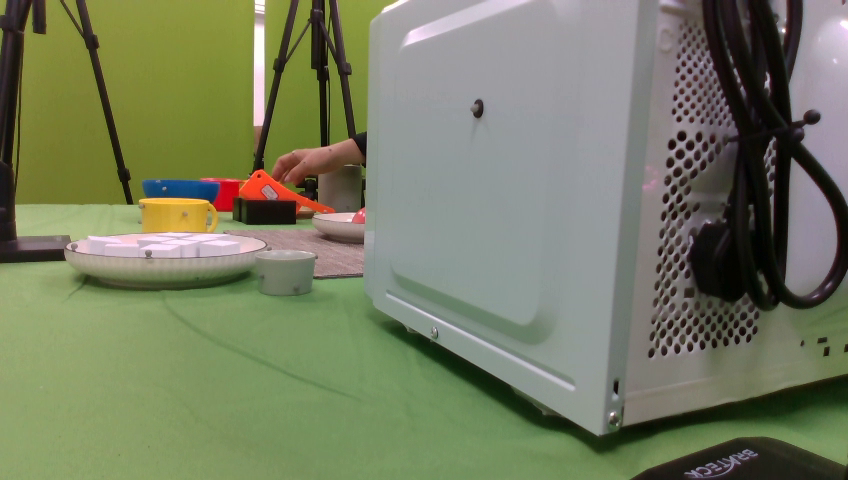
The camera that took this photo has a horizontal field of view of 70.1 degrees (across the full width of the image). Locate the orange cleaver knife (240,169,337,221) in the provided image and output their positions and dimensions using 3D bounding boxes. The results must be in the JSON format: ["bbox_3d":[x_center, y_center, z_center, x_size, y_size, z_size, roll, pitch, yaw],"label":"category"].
[{"bbox_3d":[-0.287,-0.081,1.298,0.212,0.077,0.012,25,-3,-31],"label":"orange cleaver knife"}]

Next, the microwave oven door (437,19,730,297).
[{"bbox_3d":[0.181,-0.076,0.618,0.358,0.243,0.039,-2,8,-28],"label":"microwave oven door"}]

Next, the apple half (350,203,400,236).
[{"bbox_3d":[-0.081,-0.036,1.024,0.081,0.053,0.074,-2,11,-34],"label":"apple half"}]

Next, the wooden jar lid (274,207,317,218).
[{"bbox_3d":[-0.303,-0.065,1.409,0.108,0.020,0.108,3,8,0],"label":"wooden jar lid"}]

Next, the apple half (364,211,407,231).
[{"bbox_3d":[-0.068,-0.037,1.104,0.081,0.033,0.081,-1,9,1],"label":"apple half"}]

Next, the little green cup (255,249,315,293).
[{"bbox_3d":[-0.144,0.032,0.627,0.061,0.038,0.061,2,5,0],"label":"little green cup"}]

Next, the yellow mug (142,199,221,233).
[{"bbox_3d":[-0.373,-0.030,0.948,0.099,0.064,0.131,6,7,30],"label":"yellow mug"}]

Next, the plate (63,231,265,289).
[{"bbox_3d":[-0.288,0.021,0.687,0.208,0.039,0.207,2,8,0],"label":"plate"}]

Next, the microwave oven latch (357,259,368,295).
[{"bbox_3d":[-0.019,0.031,0.529,0.079,0.029,0.030,-1,7,-26],"label":"microwave oven latch"}]

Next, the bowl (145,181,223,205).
[{"bbox_3d":[-0.499,-0.081,1.261,0.151,0.077,0.151,2,8,0],"label":"bowl"}]

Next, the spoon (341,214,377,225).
[{"bbox_3d":[-0.132,-0.048,1.305,0.041,0.021,0.194,-13,4,14],"label":"spoon"}]

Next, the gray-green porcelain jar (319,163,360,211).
[{"bbox_3d":[-0.205,-0.126,1.490,0.106,0.126,0.106,2,7,0],"label":"gray-green porcelain jar"}]

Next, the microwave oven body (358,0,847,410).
[{"bbox_3d":[0.210,-0.051,0.471,0.444,0.260,0.324,-1,7,-28],"label":"microwave oven body"}]

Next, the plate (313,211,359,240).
[{"bbox_3d":[-0.091,-0.026,1.063,0.209,0.038,0.209,2,7,0],"label":"plate"}]

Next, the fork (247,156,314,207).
[{"bbox_3d":[-0.360,-0.147,1.523,0.207,0.019,0.028,-43,16,-7],"label":"fork"}]
